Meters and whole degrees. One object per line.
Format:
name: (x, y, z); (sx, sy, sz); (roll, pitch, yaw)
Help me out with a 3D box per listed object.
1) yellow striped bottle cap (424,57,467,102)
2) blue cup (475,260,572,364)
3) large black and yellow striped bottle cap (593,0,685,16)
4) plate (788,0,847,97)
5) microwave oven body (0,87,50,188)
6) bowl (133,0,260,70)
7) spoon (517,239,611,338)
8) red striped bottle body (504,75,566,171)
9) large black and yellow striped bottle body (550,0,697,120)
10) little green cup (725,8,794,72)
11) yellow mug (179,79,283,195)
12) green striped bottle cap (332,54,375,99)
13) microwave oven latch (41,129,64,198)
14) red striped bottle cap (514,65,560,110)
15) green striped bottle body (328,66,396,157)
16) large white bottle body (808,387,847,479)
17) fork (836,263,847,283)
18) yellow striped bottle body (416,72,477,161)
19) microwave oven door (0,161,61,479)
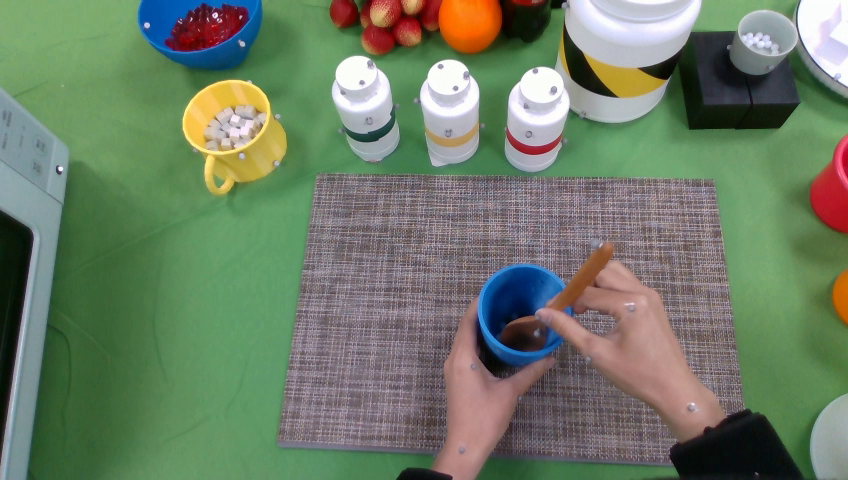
yellow striped bottle cap: (0.022, -0.163, 0.615); (0.044, 0.019, 0.044); (-1, 69, 3)
blue cup: (0.089, 0.077, 0.574); (0.092, 0.101, 0.092); (-1, 66, 2)
large black and yellow striped bottle cap: (0.203, -0.262, 0.573); (0.115, 0.019, 0.114); (-2, 66, 4)
plate: (0.531, -0.240, 0.710); (0.209, 0.038, 0.207); (-1, 68, 4)
microwave oven body: (-0.571, 0.057, 0.544); (0.326, 0.262, 0.438); (-8, 68, 1)
bowl: (-0.271, -0.269, 0.759); (0.151, 0.077, 0.150); (-1, 68, 3)
spoon: (0.104, 0.052, 0.498); (0.041, 0.194, 0.021); (26, 59, -1)
red striped bottle body: (0.118, -0.131, 0.651); (0.063, 0.121, 0.062); (-3, 65, 7)
large black and yellow striped bottle body: (0.211, -0.231, 0.651); (0.131, 0.185, 0.130); (-2, 67, 4)
little green cup: (0.361, -0.215, 0.657); (0.061, 0.039, 0.061); (-1, 66, 2)
yellow mug: (-0.225, -0.113, 0.698); (0.100, 0.064, 0.130); (11, 69, 8)
green striped bottle cap: (-0.073, -0.169, 0.624); (0.044, 0.020, 0.044); (-1, 67, 3)
microwave oven latch: (-0.437, -0.087, 0.698); (0.030, 0.030, 0.078); (-6, 68, 2)
red striped bottle cap: (0.113, -0.152, 0.603); (0.044, 0.018, 0.044); (0, 66, 0)
green striped bottle body: (-0.068, -0.148, 0.672); (0.063, 0.120, 0.062); (-1, 67, 4)
large white bottle body: (0.411, 0.163, 0.473); (0.130, 0.186, 0.129); (-2, 67, 4)
fork: (0.470, 0.058, 0.532); (0.028, 0.019, 0.205); (-33, 25, -14)
yellow striped bottle body: (0.026, -0.143, 0.663); (0.063, 0.121, 0.062); (-2, 67, 5)
microwave oven door: (-0.422, 0.075, 0.521); (0.039, 0.245, 0.353); (-8, 67, 2)
